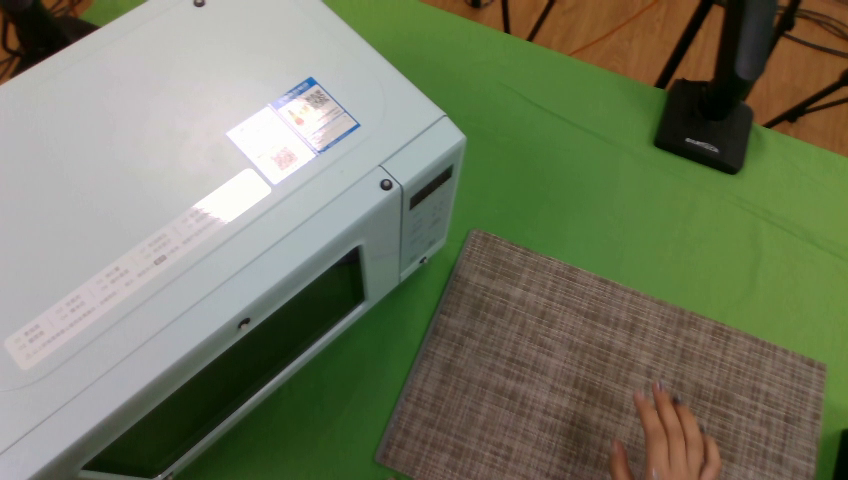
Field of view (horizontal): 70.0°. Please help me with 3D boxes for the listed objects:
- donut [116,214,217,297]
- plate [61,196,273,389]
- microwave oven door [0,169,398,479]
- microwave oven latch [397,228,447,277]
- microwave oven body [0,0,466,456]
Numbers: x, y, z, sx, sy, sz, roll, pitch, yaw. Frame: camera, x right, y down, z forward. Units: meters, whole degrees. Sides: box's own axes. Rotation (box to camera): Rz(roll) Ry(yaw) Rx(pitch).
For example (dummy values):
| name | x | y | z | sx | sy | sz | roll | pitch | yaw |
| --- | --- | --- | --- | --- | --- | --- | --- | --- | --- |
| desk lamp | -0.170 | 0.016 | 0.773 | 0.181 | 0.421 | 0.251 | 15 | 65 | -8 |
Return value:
| name | x | y | z | sx | sy | sz | roll | pitch | yaw |
| --- | --- | --- | --- | --- | --- | --- | --- | --- | --- |
| donut | -0.268 | 0.016 | 0.636 | 0.099 | 0.048 | 0.098 | 6 | 52 | -7 |
| plate | -0.255 | 0.052 | 0.618 | 0.209 | 0.038 | 0.207 | -1 | 63 | 2 |
| microwave oven door | -0.164 | 0.099 | 0.552 | 0.355 | 0.245 | 0.039 | -40 | 74 | -18 |
| microwave oven latch | -0.009 | 0.007 | 0.713 | 0.079 | 0.029 | 0.030 | -40 | 75 | -17 |
| microwave oven body | -0.234 | -0.025 | 0.605 | 0.441 | 0.261 | 0.324 | -40 | 76 | -17 |
